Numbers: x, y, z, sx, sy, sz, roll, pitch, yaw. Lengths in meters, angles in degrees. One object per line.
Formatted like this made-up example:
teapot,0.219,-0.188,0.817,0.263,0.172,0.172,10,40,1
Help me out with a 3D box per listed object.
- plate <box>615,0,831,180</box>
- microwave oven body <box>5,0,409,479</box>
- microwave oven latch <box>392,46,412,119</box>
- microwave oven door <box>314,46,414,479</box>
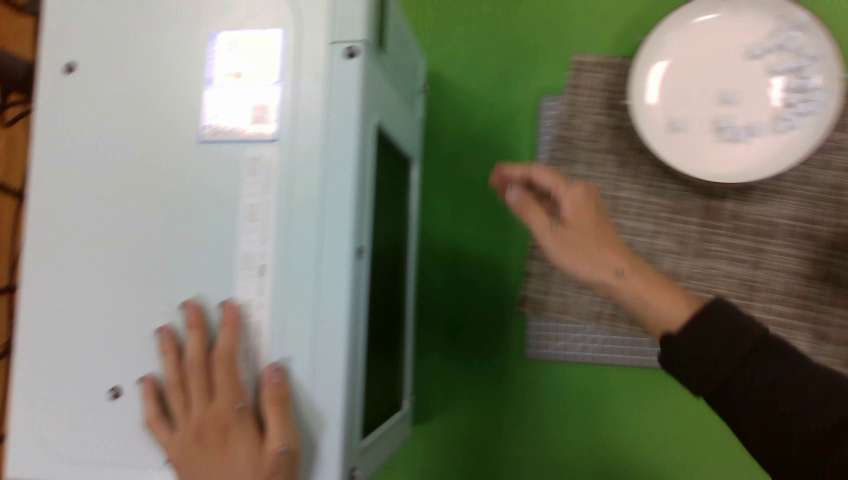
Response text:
plate,0.309,-0.163,0.642,0.209,0.038,0.208,-1,85,11
microwave oven body,-0.194,-0.009,0.615,0.325,0.261,0.441,0,87,10
microwave oven latch,-0.028,-0.179,0.693,0.030,0.029,0.079,0,87,10
microwave oven door,-0.051,0.031,0.580,0.039,0.244,0.355,-1,86,11
